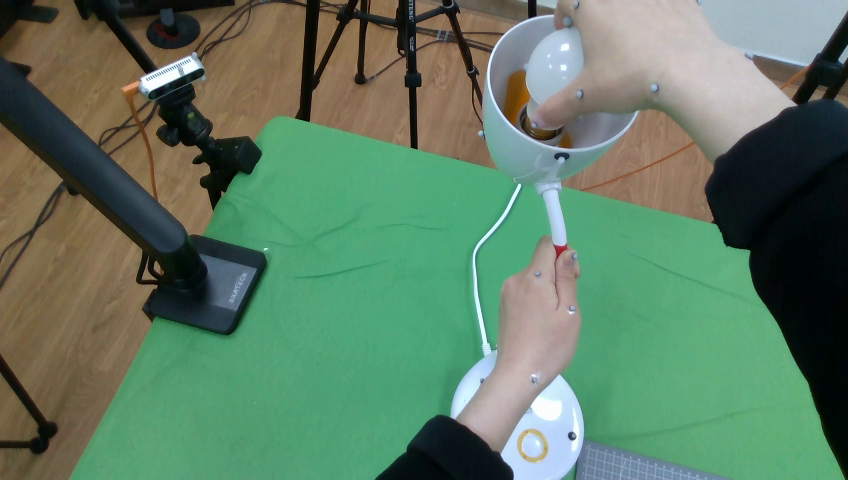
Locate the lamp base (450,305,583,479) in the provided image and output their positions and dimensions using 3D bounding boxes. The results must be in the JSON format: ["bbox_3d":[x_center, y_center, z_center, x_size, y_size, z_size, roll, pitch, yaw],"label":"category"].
[{"bbox_3d":[0.109,0.158,0.664,0.161,0.181,0.177,-22,61,-16],"label":"lamp base"}]

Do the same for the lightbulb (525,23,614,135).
[{"bbox_3d":[0.099,-0.112,0.447,0.059,0.108,0.059,3,69,-7],"label":"lightbulb"}]

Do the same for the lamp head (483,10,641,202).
[{"bbox_3d":[0.096,-0.093,0.475,0.112,0.123,0.111,1,66,-3],"label":"lamp head"}]
